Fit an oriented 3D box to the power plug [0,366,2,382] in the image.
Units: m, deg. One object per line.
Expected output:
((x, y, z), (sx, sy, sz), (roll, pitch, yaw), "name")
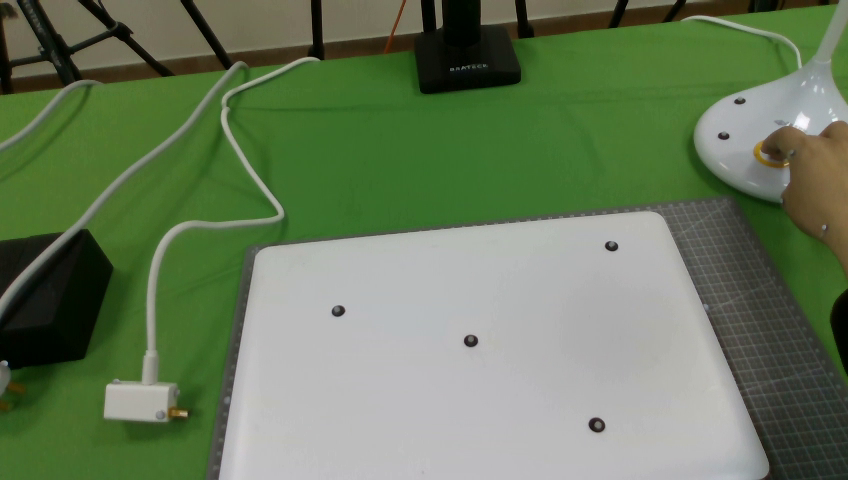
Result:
((-0.338, 0.096, 0.430), (0.035, 0.073, 0.052), (-12, 31, 39), "power plug")

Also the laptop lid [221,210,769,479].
((0.036, 0.078, 0.449), (0.357, 0.013, 0.239), (-4, 50, 2), "laptop lid")

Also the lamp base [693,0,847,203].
((0.345, -0.154, 0.538), (0.159, 0.182, 0.178), (21, 51, 23), "lamp base")

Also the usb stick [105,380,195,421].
((-0.197, 0.117, 0.441), (0.059, 0.021, 0.027), (7, 84, -4), "usb stick")

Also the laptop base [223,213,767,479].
((0.037, 0.084, 0.459), (0.354, 0.023, 0.233), (-5, 51, 0), "laptop base")
